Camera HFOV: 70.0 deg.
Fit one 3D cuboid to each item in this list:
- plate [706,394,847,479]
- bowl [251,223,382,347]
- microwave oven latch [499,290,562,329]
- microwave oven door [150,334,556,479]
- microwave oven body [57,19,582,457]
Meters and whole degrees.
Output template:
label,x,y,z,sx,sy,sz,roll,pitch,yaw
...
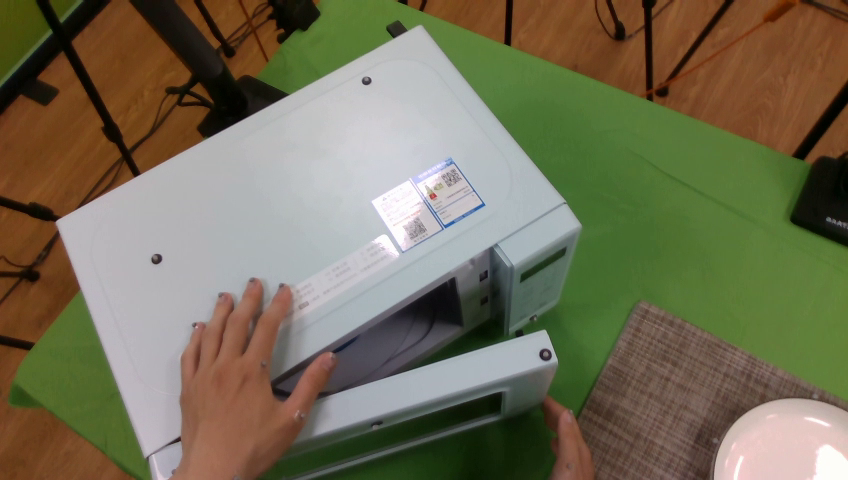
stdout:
label,x,y,z,sx,sy,sz,roll,pitch,yaw
plate,0.412,0.275,0.657,0.207,0.039,0.206,-2,66,5
bowl,-0.119,0.064,0.720,0.151,0.077,0.150,-3,62,5
microwave oven latch,0.133,0.078,0.756,0.079,0.030,0.030,-29,67,-6
microwave oven door,-0.048,0.186,0.616,0.356,0.246,0.039,-17,65,-1
microwave oven body,-0.105,0.018,0.701,0.442,0.262,0.323,-31,67,-7
